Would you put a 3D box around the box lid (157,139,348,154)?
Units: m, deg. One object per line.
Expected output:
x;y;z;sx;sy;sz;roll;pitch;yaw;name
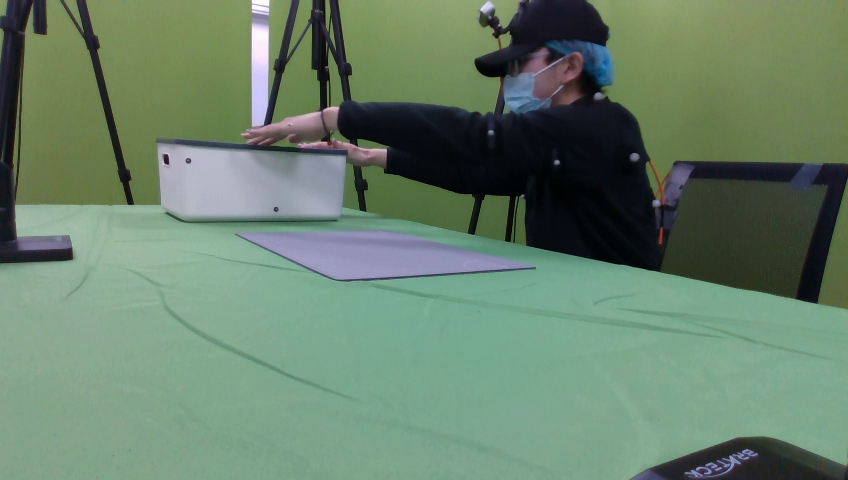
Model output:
-0.379;-0.206;1.350;0.373;0.015;0.262;-2;9;-33;box lid

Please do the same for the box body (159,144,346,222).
-0.384;-0.133;1.358;0.366;0.160;0.253;-2;9;-33;box body
